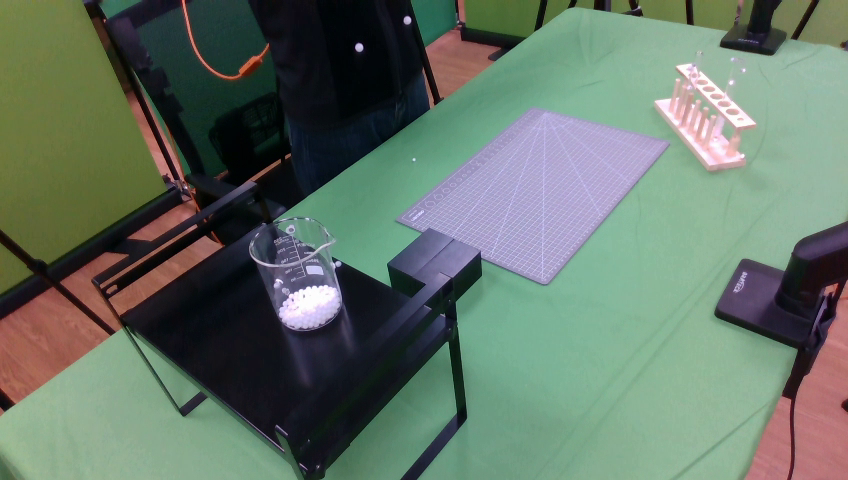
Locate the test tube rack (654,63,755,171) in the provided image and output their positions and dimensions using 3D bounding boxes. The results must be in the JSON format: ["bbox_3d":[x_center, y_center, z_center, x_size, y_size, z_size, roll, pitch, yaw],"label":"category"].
[{"bbox_3d":[0.510,-0.233,1.120,0.067,0.085,0.241,-8,41,-1],"label":"test tube rack"}]

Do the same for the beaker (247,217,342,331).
[{"bbox_3d":[-0.124,0.037,0.614,0.084,0.101,0.073,-7,41,0],"label":"beaker"}]

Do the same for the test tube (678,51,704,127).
[{"bbox_3d":[0.486,-0.273,1.100,0.017,0.151,0.017,-3,42,3],"label":"test tube"}]

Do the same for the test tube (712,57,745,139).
[{"bbox_3d":[0.529,-0.244,1.054,0.017,0.151,0.017,-1,39,1],"label":"test tube"}]
